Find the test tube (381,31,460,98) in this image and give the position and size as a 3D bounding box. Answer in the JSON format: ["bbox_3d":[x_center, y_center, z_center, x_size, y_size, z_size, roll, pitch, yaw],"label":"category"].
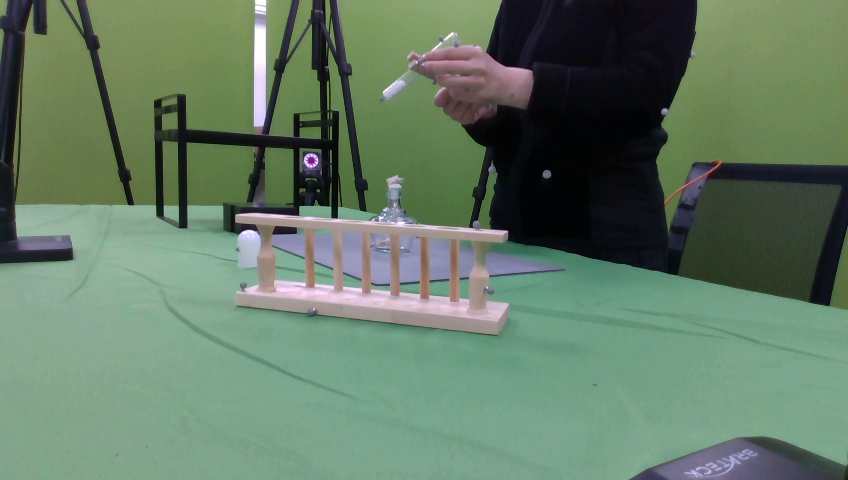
[{"bbox_3d":[-0.008,-0.250,0.872,0.150,0.017,0.017,-31,-13,32],"label":"test tube"}]

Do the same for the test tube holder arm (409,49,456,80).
[{"bbox_3d":[0.013,-0.252,0.884,0.015,0.010,0.088,-18,-30,42],"label":"test tube holder arm"}]

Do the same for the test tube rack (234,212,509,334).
[{"bbox_3d":[-0.046,0.023,0.547,0.242,0.085,0.067,4,7,15],"label":"test tube rack"}]

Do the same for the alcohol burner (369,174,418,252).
[{"bbox_3d":[-0.047,-0.042,0.922,0.078,0.119,0.078,1,10,0],"label":"alcohol burner"}]

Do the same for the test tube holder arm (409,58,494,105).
[{"bbox_3d":[0.045,-0.237,0.913,0.015,0.013,0.179,-17,-22,42],"label":"test tube holder arm"}]

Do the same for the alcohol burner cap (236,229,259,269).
[{"bbox_3d":[-0.221,0.010,0.759,0.034,0.048,0.034,-1,12,1],"label":"alcohol burner cap"}]
